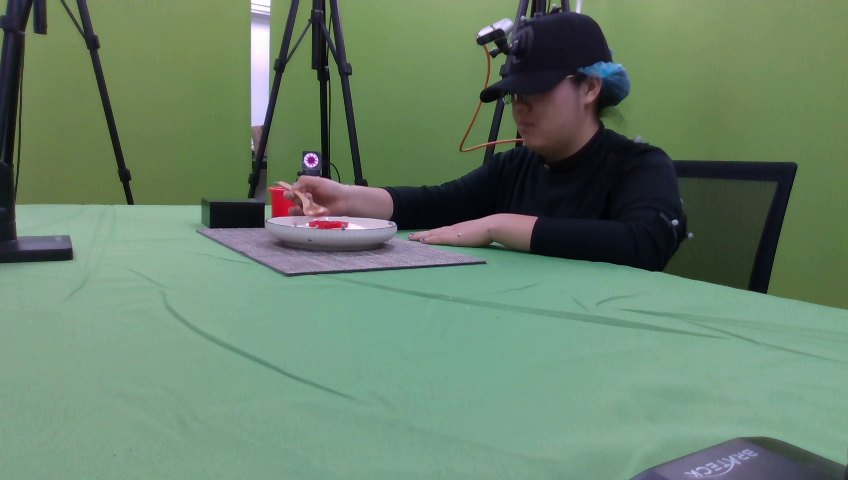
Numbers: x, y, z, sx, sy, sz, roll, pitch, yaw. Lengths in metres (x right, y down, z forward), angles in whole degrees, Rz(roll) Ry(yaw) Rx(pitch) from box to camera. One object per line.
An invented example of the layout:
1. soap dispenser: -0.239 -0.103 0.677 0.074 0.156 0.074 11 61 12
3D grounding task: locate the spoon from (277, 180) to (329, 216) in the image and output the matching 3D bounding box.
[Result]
1. spoon: -0.216 -0.077 1.052 0.042 0.021 0.192 -16 32 -28

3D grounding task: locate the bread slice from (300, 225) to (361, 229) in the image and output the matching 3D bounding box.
1. bread slice: -0.154 -0.011 0.973 0.132 0.019 0.104 0 7 -31

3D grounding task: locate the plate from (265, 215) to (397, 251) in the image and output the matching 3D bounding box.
1. plate: -0.147 -0.012 0.963 0.209 0.038 0.209 3 7 0
